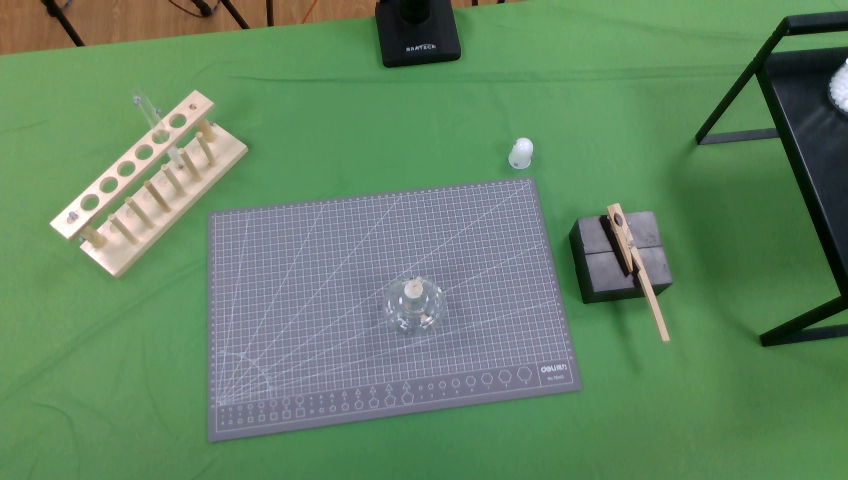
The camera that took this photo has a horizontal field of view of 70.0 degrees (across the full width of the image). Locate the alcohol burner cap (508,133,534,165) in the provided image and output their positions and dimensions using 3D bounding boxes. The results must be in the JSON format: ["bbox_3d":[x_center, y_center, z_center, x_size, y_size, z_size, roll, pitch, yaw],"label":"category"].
[{"bbox_3d":[0.137,-0.129,0.844,0.034,0.048,0.033,1,68,-1],"label":"alcohol burner cap"}]

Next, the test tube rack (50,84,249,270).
[{"bbox_3d":[-0.345,-0.083,0.787,0.066,0.086,0.242,36,72,13],"label":"test tube rack"}]

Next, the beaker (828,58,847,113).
[{"bbox_3d":[0.497,-0.188,0.653,0.084,0.101,0.073,21,69,7],"label":"beaker"}]

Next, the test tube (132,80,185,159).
[{"bbox_3d":[-0.329,-0.146,0.759,0.017,0.151,0.017,1,65,-2],"label":"test tube"}]

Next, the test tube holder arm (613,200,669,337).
[{"bbox_3d":[0.264,0.033,0.744,0.013,0.015,0.177,-20,73,9],"label":"test tube holder arm"}]

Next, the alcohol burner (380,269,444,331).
[{"bbox_3d":[-0.013,0.066,0.721,0.078,0.120,0.077,1,66,-2],"label":"alcohol burner"}]

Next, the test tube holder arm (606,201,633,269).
[{"bbox_3d":[0.247,-0.006,0.758,0.010,0.015,0.087,-18,74,9],"label":"test tube holder arm"}]
